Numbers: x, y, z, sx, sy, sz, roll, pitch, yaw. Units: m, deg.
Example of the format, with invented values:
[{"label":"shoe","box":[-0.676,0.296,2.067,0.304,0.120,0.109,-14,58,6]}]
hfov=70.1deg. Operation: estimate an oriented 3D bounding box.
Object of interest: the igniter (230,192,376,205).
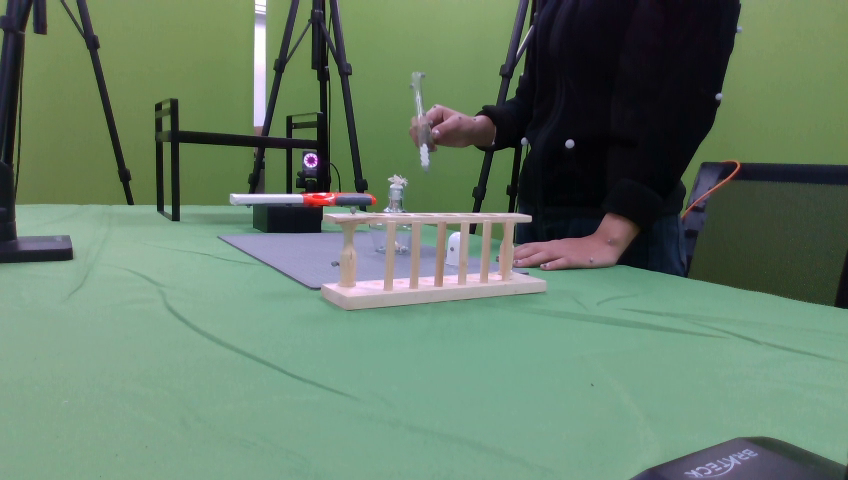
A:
[{"label":"igniter","box":[-0.226,-0.079,1.161,0.278,0.025,0.057,-2,15,-28]}]

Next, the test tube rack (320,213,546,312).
[{"label":"test tube rack","box":[0.018,0.017,0.638,0.244,0.085,0.066,-2,9,-31]}]

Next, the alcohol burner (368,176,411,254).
[{"label":"alcohol burner","box":[-0.045,-0.038,0.913,0.078,0.119,0.078,5,7,0]}]

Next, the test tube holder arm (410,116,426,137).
[{"label":"test tube holder arm","box":[-0.006,-0.179,0.959,0.010,0.015,0.088,-9,-4,13]}]

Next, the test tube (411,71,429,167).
[{"label":"test tube","box":[-0.006,-0.187,0.936,0.017,0.150,0.017,-6,-1,0]}]

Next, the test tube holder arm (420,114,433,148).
[{"label":"test tube holder arm","box":[0.006,-0.178,1.002,0.013,0.015,0.178,-8,-4,5]}]

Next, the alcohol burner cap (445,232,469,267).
[{"label":"alcohol burner cap","box":[0.045,0.013,0.829,0.034,0.048,0.034,2,8,0]}]
